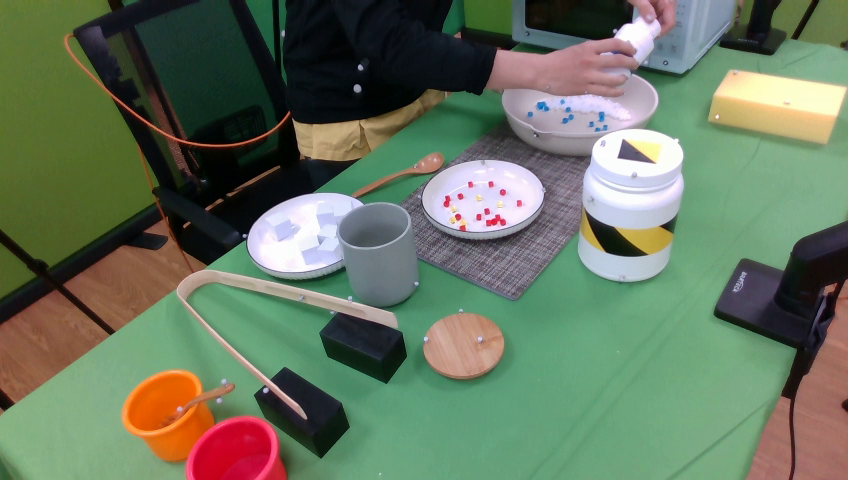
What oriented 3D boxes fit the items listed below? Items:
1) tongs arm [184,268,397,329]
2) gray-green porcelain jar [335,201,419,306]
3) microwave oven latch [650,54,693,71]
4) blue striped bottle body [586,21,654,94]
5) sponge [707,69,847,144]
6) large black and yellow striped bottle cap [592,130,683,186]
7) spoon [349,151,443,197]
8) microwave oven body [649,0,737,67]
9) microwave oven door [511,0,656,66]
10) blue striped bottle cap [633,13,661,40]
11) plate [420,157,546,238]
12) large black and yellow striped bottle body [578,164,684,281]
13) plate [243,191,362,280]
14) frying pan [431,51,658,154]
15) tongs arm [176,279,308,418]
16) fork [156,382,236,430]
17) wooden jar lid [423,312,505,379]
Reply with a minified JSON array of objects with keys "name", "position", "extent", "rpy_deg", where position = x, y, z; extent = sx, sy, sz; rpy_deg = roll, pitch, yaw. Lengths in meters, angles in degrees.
[{"name":"tongs arm","position":[-0.202,0.084,0.848],"extent":[0.382,0.027,0.051],"rpy_deg":[11,44,35]},{"name":"gray-green porcelain jar","position":[-0.064,0.024,0.872],"extent":[0.106,0.127,0.105],"rpy_deg":[-4,41,4]},{"name":"microwave oven latch","position":[0.531,-0.386,1.301],"extent":[0.078,0.029,0.030],"rpy_deg":[26,51,33]},{"name":"blue striped bottle body","position":[0.325,-0.302,0.982],"extent":[0.121,0.063,0.062],"rpy_deg":[-51,50,0]},{"name":"sponge","position":[0.663,-0.256,1.141],"extent":[0.205,0.061,0.118],"rpy_deg":[19,47,28]},{"name":"large black and yellow striped bottle cap","position":[0.282,-0.111,0.803],"extent":[0.115,0.019,0.114],"rpy_deg":[-3,41,3]},{"name":"spoon","position":[-0.051,-0.122,1.120],"extent":[0.194,0.022,0.041],"rpy_deg":[-22,59,-18]},{"name":"microwave oven body","position":[0.475,-0.602,1.411],"extent":[0.438,0.261,0.327],"rpy_deg":[23,50,32]},{"name":"microwave oven door","position":[0.351,-0.540,1.349],"extent":[0.353,0.245,0.039],"rpy_deg":[24,50,31]},{"name":"blue striped bottle cap","position":[0.362,-0.346,0.982],"extent":[0.020,0.045,0.044],"rpy_deg":[-46,46,4]},{"name":"plate","position":[0.099,-0.067,1.017],"extent":[0.209,0.038,0.208],"rpy_deg":[-4,40,4]},{"name":"large black and yellow striped bottle body","position":[0.292,-0.046,0.859],"extent":[0.131,0.185,0.130],"rpy_deg":[-4,41,4]},{"name":"plate","position":[-0.187,-0.005,0.992],"extent":[0.207,0.039,0.206],"rpy_deg":[-4,40,3]},{"name":"frying pan","position":[0.216,-0.302,1.223],"extent":[0.484,0.103,0.308],"rpy_deg":[29,50,24]},{"name":"tongs arm","position":[-0.255,0.132,0.801],"extent":[0.028,0.028,0.384],"rpy_deg":[-41,40,-23]},{"name":"fork","position":[-0.262,0.189,0.690],"extent":[0.018,0.206,0.028],"rpy_deg":[49,43,-7]},{"name":"wooden jar lid","position":[0.053,0.142,0.800],"extent":[0.108,0.021,0.108],"rpy_deg":[-5,39,4]}]
